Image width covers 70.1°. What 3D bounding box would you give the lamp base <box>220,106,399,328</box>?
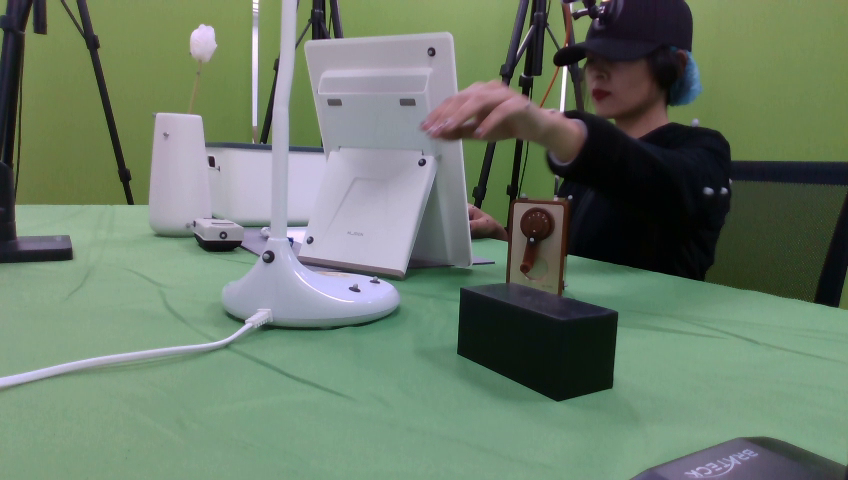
[{"bbox_3d":[-0.102,-0.023,0.531,0.160,0.180,0.179,4,10,10],"label":"lamp base"}]

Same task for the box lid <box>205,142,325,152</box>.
[{"bbox_3d":[-0.270,-0.195,1.310,0.373,0.015,0.262,-2,9,-30],"label":"box lid"}]

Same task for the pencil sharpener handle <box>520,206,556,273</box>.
[{"bbox_3d":[0.111,0.000,0.613,0.036,0.067,0.031,14,10,13],"label":"pencil sharpener handle"}]

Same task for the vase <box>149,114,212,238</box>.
[{"bbox_3d":[-0.405,-0.106,1.005,0.098,0.200,0.098,2,6,0],"label":"vase"}]

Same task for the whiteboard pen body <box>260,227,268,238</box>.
[{"bbox_3d":[-0.239,-0.005,0.964,0.017,0.017,0.140,-2,9,-28],"label":"whiteboard pen body"}]

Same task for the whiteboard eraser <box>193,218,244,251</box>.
[{"bbox_3d":[-0.307,-0.010,0.900,0.056,0.042,0.112,-4,10,-28],"label":"whiteboard eraser"}]

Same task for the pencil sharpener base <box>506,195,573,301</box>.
[{"bbox_3d":[0.127,0.007,0.663,0.061,0.107,0.077,5,8,15],"label":"pencil sharpener base"}]

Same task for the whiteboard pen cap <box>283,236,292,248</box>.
[{"bbox_3d":[-0.211,0.003,0.913,0.018,0.018,0.033,-2,6,-28],"label":"whiteboard pen cap"}]

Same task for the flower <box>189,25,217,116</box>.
[{"bbox_3d":[-0.394,-0.189,1.012,0.044,0.361,0.038,-1,-13,28],"label":"flower"}]

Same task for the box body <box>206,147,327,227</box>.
[{"bbox_3d":[-0.276,-0.122,1.320,0.366,0.160,0.253,-2,9,-30],"label":"box body"}]

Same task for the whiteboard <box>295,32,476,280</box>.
[{"bbox_3d":[-0.076,-0.084,0.747,0.216,0.305,0.144,7,28,29],"label":"whiteboard"}]
